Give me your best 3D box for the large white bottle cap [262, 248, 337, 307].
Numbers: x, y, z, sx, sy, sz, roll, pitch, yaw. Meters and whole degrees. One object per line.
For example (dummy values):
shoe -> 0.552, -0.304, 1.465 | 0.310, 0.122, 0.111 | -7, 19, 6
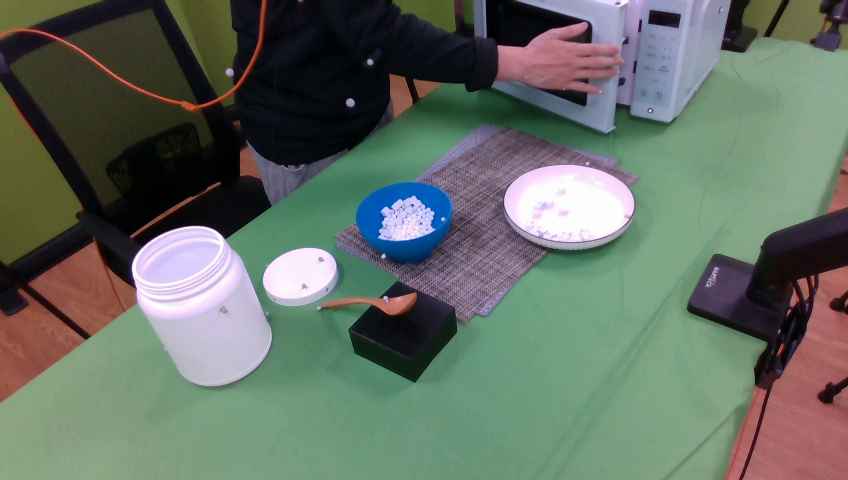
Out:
large white bottle cap -> -0.193, 0.056, 0.934 | 0.115, 0.018, 0.114 | -5, 42, 5

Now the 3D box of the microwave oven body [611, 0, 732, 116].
microwave oven body -> 0.377, -0.463, 1.267 | 0.438, 0.261, 0.327 | 21, 49, 30

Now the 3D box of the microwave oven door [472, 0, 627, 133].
microwave oven door -> 0.231, -0.375, 1.179 | 0.039, 0.245, 0.352 | -34, 47, -27

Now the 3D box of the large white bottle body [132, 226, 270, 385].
large white bottle body -> -0.286, 0.085, 0.784 | 0.130, 0.185, 0.130 | -4, 41, 4

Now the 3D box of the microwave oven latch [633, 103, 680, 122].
microwave oven latch -> 0.443, -0.249, 1.158 | 0.078, 0.029, 0.030 | 21, 49, 30

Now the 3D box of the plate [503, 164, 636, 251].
plate -> 0.232, -0.050, 0.976 | 0.209, 0.038, 0.208 | -3, 41, 3

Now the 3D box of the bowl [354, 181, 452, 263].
bowl -> -0.028, -0.017, 0.943 | 0.151, 0.077, 0.150 | -4, 40, 4

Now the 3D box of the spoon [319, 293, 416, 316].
spoon -> -0.082, 0.086, 0.826 | 0.192, 0.022, 0.041 | -3, 38, 41
